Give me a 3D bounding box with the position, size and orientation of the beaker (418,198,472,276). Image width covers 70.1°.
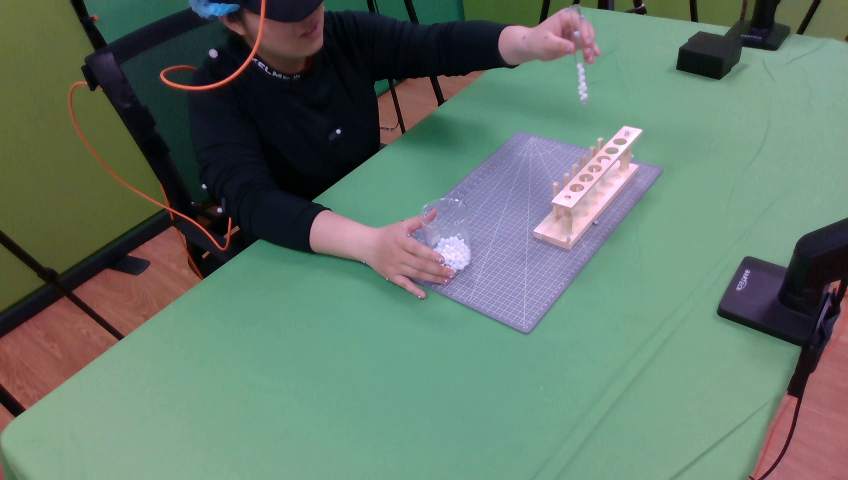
[{"bbox_3d":[0.037,-0.004,0.916,0.073,0.101,0.084,24,49,33],"label":"beaker"}]

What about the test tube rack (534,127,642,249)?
[{"bbox_3d":[0.271,-0.094,0.990,0.066,0.085,0.243,23,49,33],"label":"test tube rack"}]

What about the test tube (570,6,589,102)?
[{"bbox_3d":[0.237,-0.279,0.919,0.017,0.151,0.017,-11,36,9],"label":"test tube"}]
